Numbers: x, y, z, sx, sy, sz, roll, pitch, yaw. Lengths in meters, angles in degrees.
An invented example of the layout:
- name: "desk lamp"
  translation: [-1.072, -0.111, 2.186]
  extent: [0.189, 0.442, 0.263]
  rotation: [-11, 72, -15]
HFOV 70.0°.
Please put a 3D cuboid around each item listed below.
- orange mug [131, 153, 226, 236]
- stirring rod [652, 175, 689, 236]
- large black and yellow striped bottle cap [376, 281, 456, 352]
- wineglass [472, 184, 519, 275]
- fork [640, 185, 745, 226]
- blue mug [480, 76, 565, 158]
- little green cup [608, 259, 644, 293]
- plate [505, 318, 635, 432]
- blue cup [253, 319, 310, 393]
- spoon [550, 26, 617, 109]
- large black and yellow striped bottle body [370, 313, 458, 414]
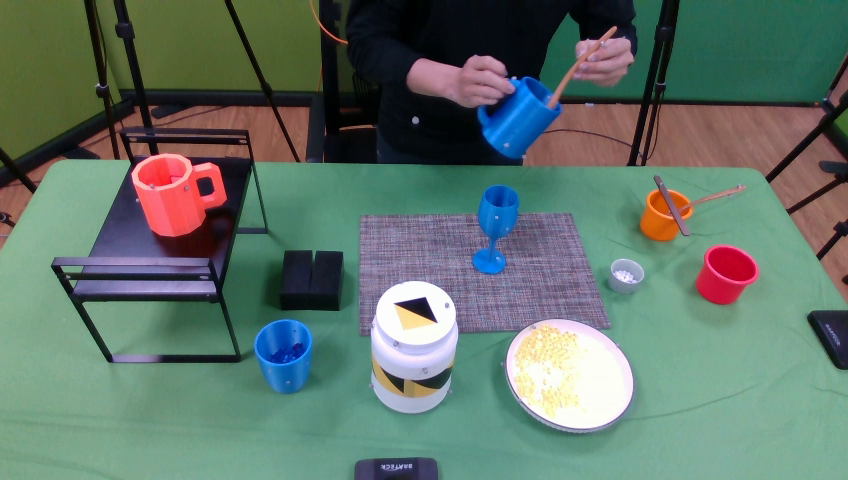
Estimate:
- name: "orange mug"
  translation: [-0.375, -0.075, 0.937]
  extent: [0.126, 0.101, 0.083]
  rotation: [-20, 50, -17]
- name: "stirring rod"
  translation: [0.491, -0.072, 1.211]
  extent: [0.014, 0.006, 0.175]
  rotation: [-1, 47, -5]
- name: "large black and yellow striped bottle cap"
  translation: [-0.011, 0.107, 0.863]
  extent: [0.115, 0.019, 0.114]
  rotation: [2, 47, -2]
- name: "wineglass"
  translation: [0.129, -0.018, 1.113]
  extent: [0.074, 0.173, 0.073]
  rotation: [2, 46, -2]
- name: "fork"
  translation: [0.534, -0.069, 1.215]
  extent: [0.207, 0.019, 0.028]
  rotation: [-26, 27, 33]
- name: "blue mug"
  translation: [0.148, -0.206, 0.974]
  extent: [0.117, 0.106, 0.082]
  rotation: [30, 35, -17]
- name: "little green cup"
  translation: [0.379, 0.070, 1.147]
  extent: [0.061, 0.039, 0.061]
  rotation: [3, 45, -2]
- name: "plate"
  translation: [0.235, 0.221, 0.991]
  extent: [0.209, 0.038, 0.208]
  rotation: [2, 45, -2]
- name: "blue cup"
  translation: [-0.217, 0.187, 0.943]
  extent: [0.093, 0.101, 0.092]
  rotation: [4, 45, -3]
- name: "spoon"
  translation: [0.227, -0.249, 0.936]
  extent: [0.021, 0.194, 0.041]
  rotation: [43, 27, 15]
- name: "large black and yellow striped bottle body"
  translation: [-0.017, 0.165, 0.924]
  extent: [0.131, 0.185, 0.130]
  rotation: [2, 46, -2]
